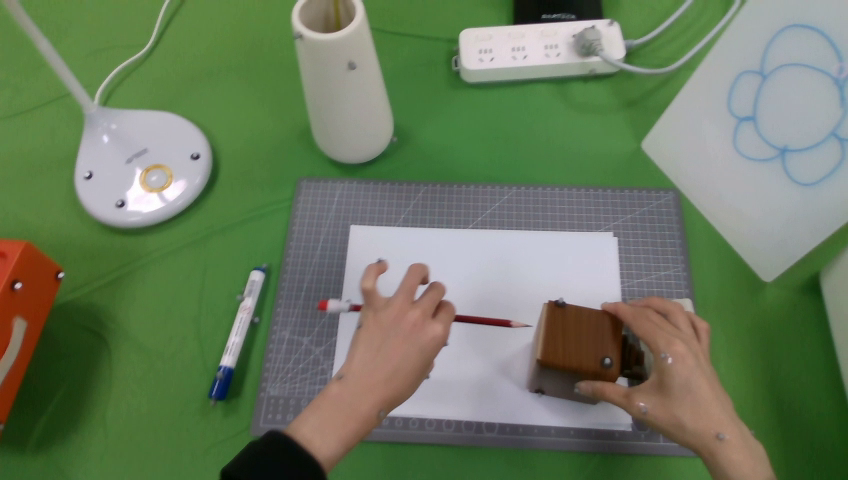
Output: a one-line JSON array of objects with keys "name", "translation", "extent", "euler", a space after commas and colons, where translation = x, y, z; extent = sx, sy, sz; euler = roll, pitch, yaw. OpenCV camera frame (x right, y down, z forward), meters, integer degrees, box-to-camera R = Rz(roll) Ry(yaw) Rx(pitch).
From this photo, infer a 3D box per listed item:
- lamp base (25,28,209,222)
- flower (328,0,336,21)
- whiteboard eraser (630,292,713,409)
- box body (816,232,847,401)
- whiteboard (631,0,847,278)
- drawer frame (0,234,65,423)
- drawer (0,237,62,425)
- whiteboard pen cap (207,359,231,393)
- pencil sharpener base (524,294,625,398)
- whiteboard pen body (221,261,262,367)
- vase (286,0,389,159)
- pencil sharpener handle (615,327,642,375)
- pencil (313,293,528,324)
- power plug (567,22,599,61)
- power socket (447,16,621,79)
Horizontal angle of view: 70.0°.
[{"name": "lamp base", "translation": [-0.352, -0.133, 0.662], "extent": [0.178, 0.182, 0.160], "euler": [32, 68, 19]}, {"name": "flower", "translation": [-0.090, -0.229, 0.600], "extent": [0.038, 0.365, 0.043], "euler": [-9, 45, -10]}, {"name": "whiteboard eraser", "translation": [0.243, 0.109, 0.601], "extent": [0.055, 0.042, 0.111], "euler": [-3, 64, -2]}, {"name": "box body", "translation": [0.526, 0.139, 0.514], "extent": [0.254, 0.161, 0.361], "euler": [1, 64, 2]}, {"name": "whiteboard", "translation": [0.403, -0.146, 0.612], "extent": [0.144, 0.307, 0.215], "euler": [-19, 63, -29]}, {"name": "drawer frame", "translation": [-0.490, 0.090, 0.564], "extent": [0.213, 0.083, 0.200], "euler": [5, 65, 2]}, {"name": "drawer", "translation": [-0.484, 0.088, 0.562], "extent": [0.211, 0.074, 0.193], "euler": [5, 65, 4]}, {"name": "whiteboard pen cap", "translation": [-0.205, 0.136, 0.609], "extent": [0.018, 0.018, 0.033], "euler": [6, 58, 5]}, {"name": "pencil sharpener base", "translation": [0.139, 0.102, 0.565], "extent": [0.076, 0.108, 0.061], "euler": [9, 63, 8]}, {"name": "whiteboard pen body", "translation": [-0.194, 0.086, 0.637], "extent": [0.017, 0.017, 0.139], "euler": [6, 60, 5]}, {"name": "vase", "translation": [-0.095, -0.176, 0.666], "extent": [0.098, 0.201, 0.097], "euler": [-1, 63, 3]}, {"name": "pencil sharpener handle", "translation": [0.188, 0.105, 0.547], "extent": [0.030, 0.068, 0.035], "euler": [9, 61, 8]}, {"name": "pencil", "translation": [-0.003, 0.063, 0.546], "extent": [0.194, 0.012, 0.012], "euler": [7, 64, 0]}, {"name": "power plug", "translation": [0.195, -0.239, 0.755], "extent": [0.035, 0.053, 0.072], "euler": [6, 66, 5]}, {"name": "power socket", "translation": [0.143, -0.251, 0.788], "extent": [0.227, 0.033, 0.071], "euler": [-3, 64, -1]}]
